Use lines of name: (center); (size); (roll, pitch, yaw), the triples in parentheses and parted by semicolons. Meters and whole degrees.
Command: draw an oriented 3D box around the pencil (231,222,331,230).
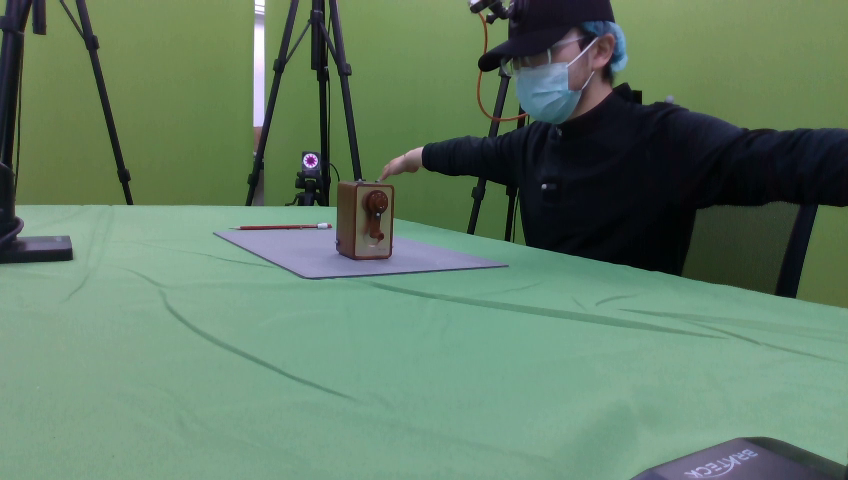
pencil: (-0.272, -0.026, 1.165); (0.195, 0.012, 0.012); (-3, 9, -29)

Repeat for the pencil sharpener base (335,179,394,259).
pencil sharpener base: (-0.084, -0.030, 0.855); (0.061, 0.107, 0.076); (-1, 8, -28)

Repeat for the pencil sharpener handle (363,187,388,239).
pencil sharpener handle: (-0.061, -0.035, 0.809); (0.036, 0.067, 0.030); (4, 6, -29)
